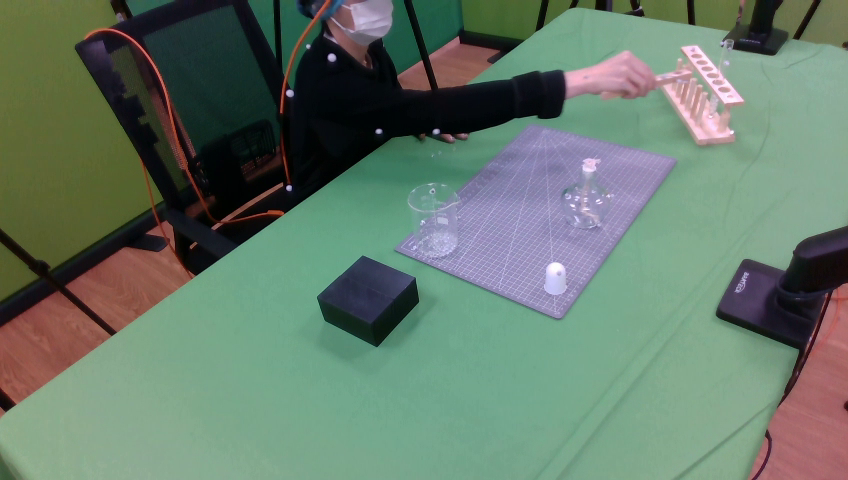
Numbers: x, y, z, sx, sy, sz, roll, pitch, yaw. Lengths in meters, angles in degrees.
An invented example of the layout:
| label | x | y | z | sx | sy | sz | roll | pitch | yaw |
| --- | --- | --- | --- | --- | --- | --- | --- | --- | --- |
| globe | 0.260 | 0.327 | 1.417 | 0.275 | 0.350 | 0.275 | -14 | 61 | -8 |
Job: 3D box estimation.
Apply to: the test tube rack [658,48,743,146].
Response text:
| label | x | y | z | sx | sy | sz | roll | pitch | yaw |
| --- | --- | --- | --- | --- | --- | --- | --- | --- | --- |
| test tube rack | 0.532 | -0.284 | 1.180 | 0.067 | 0.085 | 0.241 | -5 | 40 | 4 |

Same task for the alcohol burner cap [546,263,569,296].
| label | x | y | z | sx | sy | sz | roll | pitch | yaw |
| --- | --- | --- | --- | --- | --- | --- | --- | --- | --- |
| alcohol burner cap | 0.191 | 0.053 | 0.862 | 0.034 | 0.048 | 0.033 | -5 | 40 | 4 |

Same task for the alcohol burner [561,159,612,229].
| label | x | y | z | sx | sy | sz | roll | pitch | yaw |
| --- | --- | --- | --- | --- | --- | --- | --- | --- | --- |
| alcohol burner | 0.257 | -0.077 | 0.951 | 0.078 | 0.119 | 0.077 | -3 | 40 | 3 |

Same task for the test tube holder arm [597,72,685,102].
| label | x | y | z | sx | sy | sz | roll | pitch | yaw |
| --- | --- | --- | --- | --- | --- | --- | --- | --- | --- |
| test tube holder arm | 0.381 | -0.268 | 1.059 | 0.179 | 0.015 | 0.013 | -18 | 39 | -16 |

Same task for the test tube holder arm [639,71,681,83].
| label | x | y | z | sx | sy | sz | roll | pitch | yaw |
| --- | --- | --- | --- | --- | --- | --- | --- | --- | --- |
| test tube holder arm | 0.420 | -0.285 | 1.076 | 0.088 | 0.015 | 0.010 | -18 | 39 | -16 |

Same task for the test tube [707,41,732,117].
| label | x | y | z | sx | sy | sz | roll | pitch | yaw |
| --- | --- | --- | --- | --- | --- | --- | --- | --- | --- |
| test tube | 0.542 | -0.293 | 1.111 | 0.017 | 0.151 | 0.017 | -5 | 43 | 5 |

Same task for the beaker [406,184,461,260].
| label | x | y | z | sx | sy | sz | roll | pitch | yaw |
| --- | --- | --- | --- | --- | --- | --- | --- | --- | --- |
| beaker | 0.019 | -0.026 | 0.939 | 0.084 | 0.101 | 0.074 | 1 | 41 | 9 |
